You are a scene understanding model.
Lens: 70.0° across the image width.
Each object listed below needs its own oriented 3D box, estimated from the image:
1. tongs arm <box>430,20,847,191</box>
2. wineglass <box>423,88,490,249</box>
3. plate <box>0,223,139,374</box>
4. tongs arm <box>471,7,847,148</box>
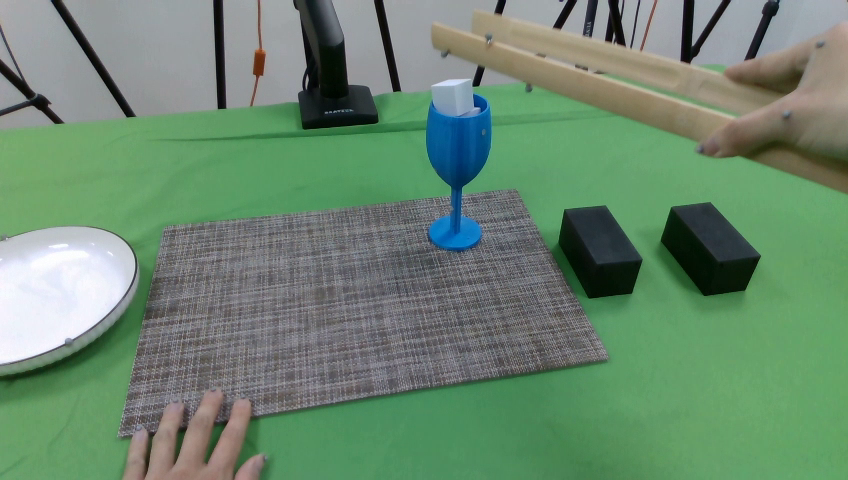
[{"bbox_3d":[0.151,-0.115,0.454,0.051,0.027,0.381,-27,45,-33],"label":"tongs arm"},{"bbox_3d":[0.035,-0.077,0.681,0.074,0.174,0.073,0,40,0],"label":"wineglass"},{"bbox_3d":[-0.401,0.058,0.624,0.209,0.038,0.207,0,39,0],"label":"plate"},{"bbox_3d":[0.175,-0.129,0.473,0.028,0.028,0.383,-26,44,-36],"label":"tongs arm"}]
